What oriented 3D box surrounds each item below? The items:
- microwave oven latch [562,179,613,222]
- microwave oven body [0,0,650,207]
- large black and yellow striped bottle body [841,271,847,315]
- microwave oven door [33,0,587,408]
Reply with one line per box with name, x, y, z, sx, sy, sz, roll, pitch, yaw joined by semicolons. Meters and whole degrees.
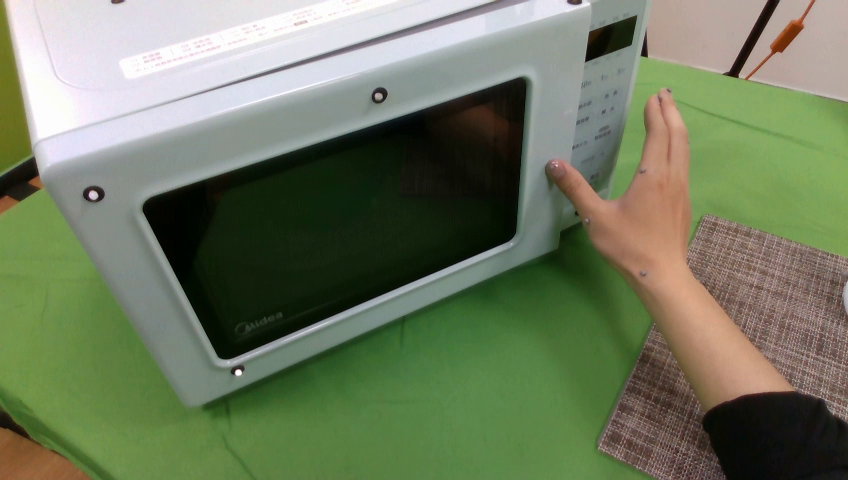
microwave oven latch;0.149;-0.041;0.603;0.079;0.030;0.030;-23;48;-17
microwave oven body;-0.084;-0.126;0.567;0.442;0.263;0.322;-25;49;-19
large black and yellow striped bottle body;0.421;0.003;0.453;0.131;0.186;0.129;-2;45;2
microwave oven door;-0.043;-0.023;0.453;0.356;0.246;0.039;-22;47;-17
